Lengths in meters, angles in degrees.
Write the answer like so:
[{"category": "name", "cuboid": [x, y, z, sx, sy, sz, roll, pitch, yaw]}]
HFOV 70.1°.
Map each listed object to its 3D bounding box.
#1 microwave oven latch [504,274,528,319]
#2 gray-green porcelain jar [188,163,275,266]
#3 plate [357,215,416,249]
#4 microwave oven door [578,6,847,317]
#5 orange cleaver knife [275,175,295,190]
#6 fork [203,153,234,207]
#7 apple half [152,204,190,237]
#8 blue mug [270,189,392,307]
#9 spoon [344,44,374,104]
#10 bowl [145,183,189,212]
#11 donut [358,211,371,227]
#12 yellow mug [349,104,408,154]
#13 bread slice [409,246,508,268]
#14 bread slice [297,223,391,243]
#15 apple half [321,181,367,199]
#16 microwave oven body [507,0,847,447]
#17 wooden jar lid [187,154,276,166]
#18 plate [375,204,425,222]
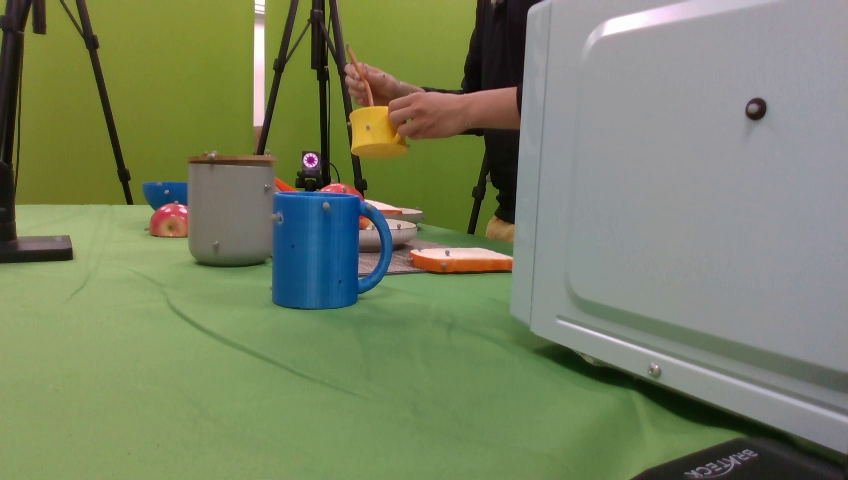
[{"category": "microwave oven latch", "cuboid": [0.100, 0.041, 0.471, 0.079, 0.029, 0.030, -1, 7, -27]}, {"category": "gray-green porcelain jar", "cuboid": [-0.246, -0.034, 0.779, 0.106, 0.126, 0.106, 2, 7, 0]}, {"category": "plate", "cuboid": [-0.116, -0.014, 0.967, 0.208, 0.039, 0.207, 2, 7, 0]}, {"category": "microwave oven door", "cuboid": [0.294, -0.067, 0.570, 0.358, 0.243, 0.039, -3, 9, -31]}, {"category": "orange cleaver knife", "cuboid": [-0.283, -0.087, 1.343, 0.212, 0.077, 0.012, 24, -16, -41]}, {"category": "fork", "cuboid": [-0.480, -0.135, 1.411, 0.028, 0.018, 0.207, 1, -34, -1]}, {"category": "apple half", "cuboid": [-0.415, -0.034, 1.017, 0.081, 0.053, 0.074, 1, 10, -9]}, {"category": "blue mug", "cuboid": [-0.090, 0.005, 0.588, 0.117, 0.106, 0.082, 1, 7, -10]}, {"category": "spoon", "cuboid": [-0.102, -0.265, 1.078, 0.021, 0.193, 0.041, -21, -8, 5]}, {"category": "bowl", "cuboid": [-0.459, -0.069, 1.175, 0.151, 0.077, 0.151, 3, 7, 0]}, {"category": "donut", "cuboid": [-0.132, -0.041, 0.959, 0.099, 0.048, 0.099, 2, 7, 0]}, {"category": "yellow mug", "cuboid": [-0.071, -0.194, 1.047, 0.100, 0.064, 0.130, -1, -5, -34]}, {"category": "bread slice", "cuboid": [0.048, 0.021, 0.816, 0.132, 0.019, 0.104, 0, 6, -24]}, {"category": "bread slice", "cuboid": [-0.121, -0.013, 0.971, 0.106, 0.018, 0.135, 9, 11, 42]}, {"category": "apple half", "cuboid": [-0.129, -0.077, 0.952, 0.081, 0.033, 0.081, 1, 16, 0]}, {"category": "microwave oven body", "cuboid": [0.331, -0.042, 0.425, 0.444, 0.260, 0.324, -2, 8, -31]}, {"category": "wooden jar lid", "cuboid": [-0.244, -0.097, 0.771, 0.108, 0.020, 0.108, -1, 7, 0]}, {"category": "plate", "cuboid": [-0.102, -0.053, 1.299, 0.209, 0.038, 0.209, 2, 8, 0]}]
